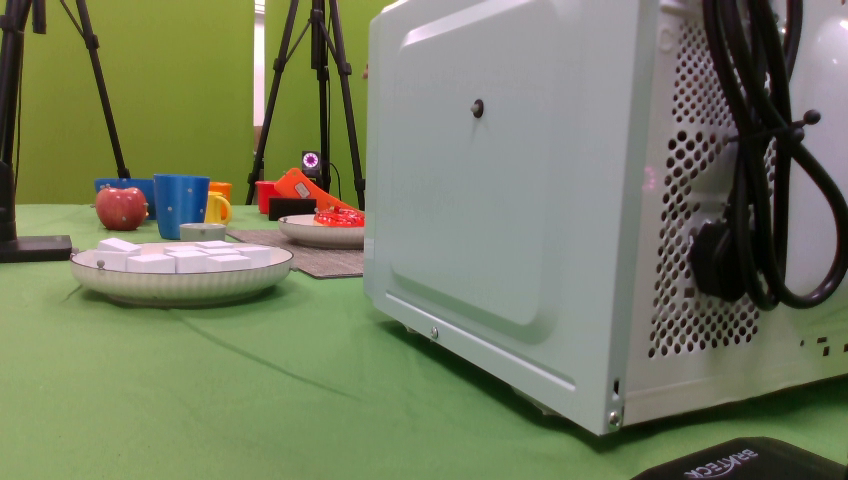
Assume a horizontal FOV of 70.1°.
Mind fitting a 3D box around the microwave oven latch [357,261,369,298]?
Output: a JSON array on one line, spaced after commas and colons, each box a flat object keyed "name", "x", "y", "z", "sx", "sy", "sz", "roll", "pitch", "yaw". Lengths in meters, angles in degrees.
[{"name": "microwave oven latch", "x": -0.019, "y": 0.034, "z": 0.530, "sx": 0.079, "sy": 0.029, "sz": 0.030, "roll": 0, "pitch": 7, "yaw": -25}]

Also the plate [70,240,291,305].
[{"name": "plate", "x": -0.242, "y": 0.031, "z": 0.618, "sx": 0.208, "sy": 0.039, "sz": 0.207, "roll": 2, "pitch": 8, "yaw": 0}]

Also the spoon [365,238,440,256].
[{"name": "spoon", "x": -0.023, "y": 0.006, "z": 0.907, "sx": 0.041, "sy": 0.021, "sz": 0.194, "roll": -16, "pitch": -2, "yaw": 30}]

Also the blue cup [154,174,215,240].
[{"name": "blue cup", "x": -0.391, "y": -0.053, "z": 0.978, "sx": 0.093, "sy": 0.100, "sz": 0.092, "roll": 4, "pitch": 6, "yaw": 0}]

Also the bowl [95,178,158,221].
[{"name": "bowl", "x": -0.576, "y": -0.081, "z": 1.217, "sx": 0.151, "sy": 0.077, "sz": 0.151, "roll": 3, "pitch": 8, "yaw": 0}]

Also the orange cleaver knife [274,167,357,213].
[{"name": "orange cleaver knife", "x": -0.238, "y": -0.091, "z": 1.381, "sx": 0.212, "sy": 0.077, "sz": 0.012, "roll": 31, "pitch": 2, "yaw": -19}]

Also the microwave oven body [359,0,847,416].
[{"name": "microwave oven body", "x": 0.211, "y": -0.046, "z": 0.474, "sx": 0.444, "sy": 0.260, "sz": 0.324, "roll": -1, "pitch": 7, "yaw": -28}]

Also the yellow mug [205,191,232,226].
[{"name": "yellow mug", "x": -0.415, "y": -0.057, "z": 1.131, "sx": 0.130, "sy": 0.064, "sz": 0.100, "roll": 6, "pitch": 8, "yaw": 16}]

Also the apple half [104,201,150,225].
[{"name": "apple half", "x": -0.548, "y": -0.044, "z": 1.115, "sx": 0.081, "sy": 0.033, "sz": 0.081, "roll": 18, "pitch": 6, "yaw": -2}]

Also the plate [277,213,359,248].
[{"name": "plate", "x": -0.135, "y": -0.017, "z": 0.993, "sx": 0.209, "sy": 0.038, "sz": 0.209, "roll": 2, "pitch": 8, "yaw": 0}]

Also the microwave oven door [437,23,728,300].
[{"name": "microwave oven door", "x": 0.181, "y": -0.072, "z": 0.621, "sx": 0.358, "sy": 0.243, "sz": 0.039, "roll": -2, "pitch": 8, "yaw": -29}]

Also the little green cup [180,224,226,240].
[{"name": "little green cup", "x": -0.309, "y": -0.001, "z": 0.846, "sx": 0.061, "sy": 0.038, "sz": 0.061, "roll": 2, "pitch": 8, "yaw": 0}]

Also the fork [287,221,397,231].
[{"name": "fork", "x": -0.148, "y": -0.025, "z": 1.120, "sx": 0.208, "sy": 0.018, "sz": 0.028, "roll": -2, "pitch": 0, "yaw": -22}]

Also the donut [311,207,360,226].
[{"name": "donut", "x": -0.137, "y": -0.029, "z": 0.995, "sx": 0.099, "sy": 0.048, "sz": 0.099, "roll": 4, "pitch": 8, "yaw": 0}]

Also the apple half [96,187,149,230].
[{"name": "apple half", "x": -0.516, "y": -0.052, "z": 1.036, "sx": 0.081, "sy": 0.074, "sz": 0.053, "roll": 3, "pitch": 11, "yaw": -26}]
